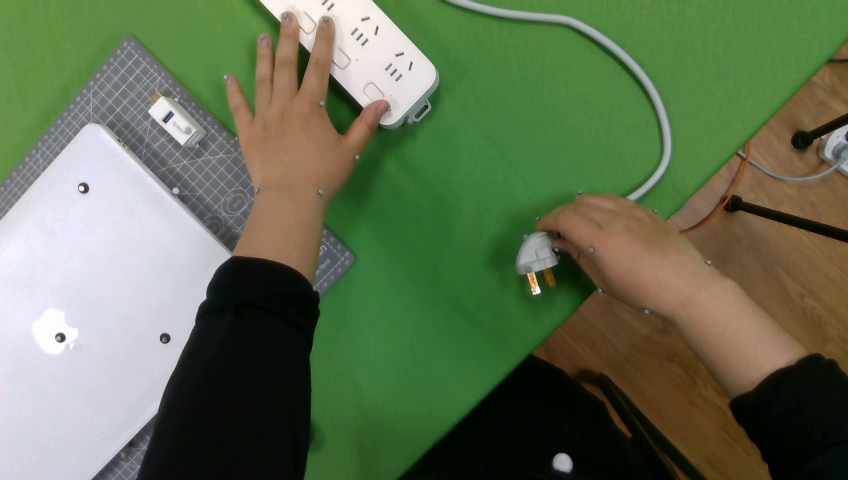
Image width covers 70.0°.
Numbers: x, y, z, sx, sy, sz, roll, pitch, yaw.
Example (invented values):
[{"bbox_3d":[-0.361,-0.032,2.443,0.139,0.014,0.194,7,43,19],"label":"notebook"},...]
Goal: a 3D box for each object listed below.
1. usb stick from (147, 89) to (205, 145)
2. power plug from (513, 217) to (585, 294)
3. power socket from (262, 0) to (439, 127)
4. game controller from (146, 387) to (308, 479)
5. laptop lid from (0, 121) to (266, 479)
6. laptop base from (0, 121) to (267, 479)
[{"bbox_3d":[-0.233,-0.116,0.558,0.021,0.027,0.059,-45,89,10],"label":"usb stick"},{"bbox_3d":[0.112,0.014,0.521,0.072,0.035,0.053,-16,95,4],"label":"power plug"},{"bbox_3d":[-0.079,-0.196,0.537,0.072,0.032,0.227,-43,91,9],"label":"power socket"},{"bbox_3d":[-0.197,0.215,0.585,0.155,0.051,0.097,-44,87,7],"label":"game controller"},{"bbox_3d":[-0.349,0.090,0.584,0.357,0.013,0.242,-43,94,7],"label":"laptop lid"},{"bbox_3d":[-0.350,0.087,0.596,0.354,0.023,0.236,-44,95,7],"label":"laptop base"}]
